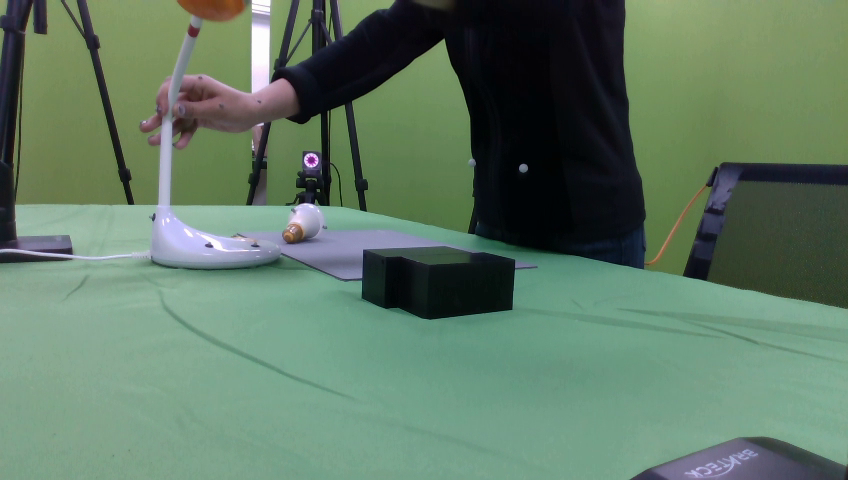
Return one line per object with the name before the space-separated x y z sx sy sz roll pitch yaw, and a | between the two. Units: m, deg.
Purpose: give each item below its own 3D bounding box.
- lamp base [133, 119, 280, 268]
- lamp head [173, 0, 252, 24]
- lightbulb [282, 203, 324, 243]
lamp base | -0.277 -0.061 0.770 0.180 0.180 0.160 -8 12 -43
lamp head | -0.198 -0.265 0.565 0.112 0.122 0.112 6 -11 1
lightbulb | -0.203 -0.023 0.993 0.059 0.059 0.108 3 23 12
